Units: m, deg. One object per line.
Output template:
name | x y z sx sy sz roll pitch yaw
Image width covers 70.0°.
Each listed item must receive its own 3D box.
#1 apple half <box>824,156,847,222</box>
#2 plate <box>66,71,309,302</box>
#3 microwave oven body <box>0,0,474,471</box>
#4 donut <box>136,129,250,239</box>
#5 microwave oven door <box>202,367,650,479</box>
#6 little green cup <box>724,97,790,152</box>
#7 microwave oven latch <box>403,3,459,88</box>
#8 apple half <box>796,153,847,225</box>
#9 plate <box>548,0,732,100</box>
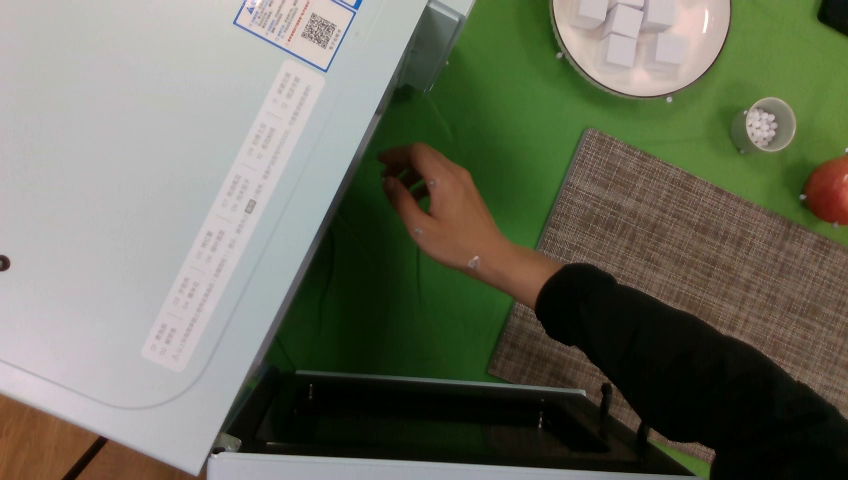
apple half | 0.500 -0.060 0.696 0.033 0.081 0.081 -3 91 -2
plate | -0.212 -0.048 0.559 0.209 0.038 0.209 0 92 -7
microwave oven body | -0.191 -0.104 0.507 0.327 0.259 0.441 26 89 -8
donut | -0.207 -0.049 0.545 0.099 0.048 0.099 0 90 -7
microwave oven door | 0.014 0.169 0.537 0.357 0.243 0.039 6 89 -8
little green cup | 0.380 -0.130 0.697 0.062 0.038 0.061 0 91 -7
microwave oven latch | 0.007 -0.200 0.627 0.030 0.029 0.079 29 89 -8
apple half | 0.461 -0.057 0.693 0.053 0.074 0.081 -3 95 -3
plate | 0.235 -0.258 0.674 0.208 0.039 0.207 0 92 -7
